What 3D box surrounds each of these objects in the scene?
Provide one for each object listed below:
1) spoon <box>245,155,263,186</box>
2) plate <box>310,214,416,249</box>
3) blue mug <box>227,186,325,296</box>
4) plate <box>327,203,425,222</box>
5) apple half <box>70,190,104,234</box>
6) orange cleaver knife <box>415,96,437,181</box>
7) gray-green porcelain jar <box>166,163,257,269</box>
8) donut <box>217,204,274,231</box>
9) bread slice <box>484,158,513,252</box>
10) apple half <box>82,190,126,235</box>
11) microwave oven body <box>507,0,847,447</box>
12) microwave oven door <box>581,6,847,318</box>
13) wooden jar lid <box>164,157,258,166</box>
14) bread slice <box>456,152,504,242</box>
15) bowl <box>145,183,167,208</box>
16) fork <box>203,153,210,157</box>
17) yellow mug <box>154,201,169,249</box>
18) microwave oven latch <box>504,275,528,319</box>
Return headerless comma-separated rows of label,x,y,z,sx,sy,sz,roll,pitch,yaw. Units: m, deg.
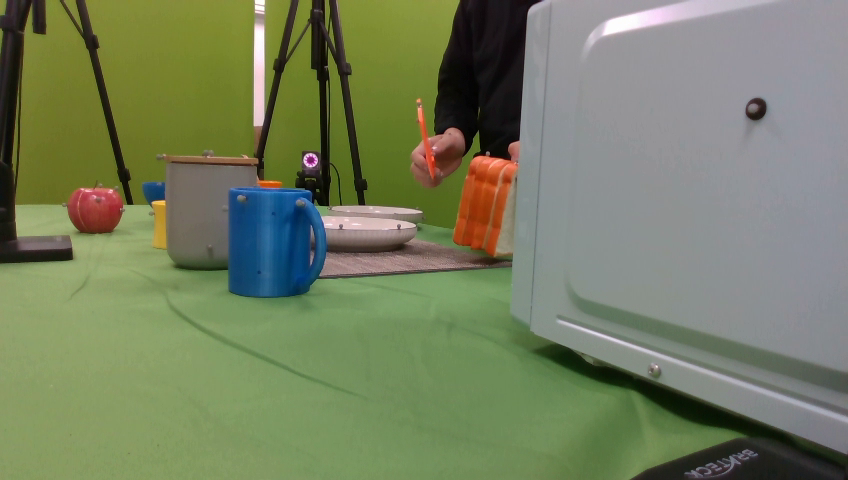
spoon,-0.421,-0.150,1.540,0.042,0.021,0.193,-5,55,-37
plate,-0.116,-0.014,0.967,0.208,0.039,0.207,2,7,0
blue mug,-0.146,0.000,0.618,0.116,0.106,0.083,7,9,32
plate,-0.102,-0.053,1.299,0.209,0.038,0.209,2,8,0
apple half,-0.552,-0.047,1.009,0.053,0.074,0.081,-1,9,26
orange cleaver knife,0.006,-0.140,0.948,0.012,0.077,0.212,-12,-28,2
gray-green porcelain jar,-0.263,-0.031,0.754,0.106,0.126,0.106,2,7,0
donut,-0.318,-0.038,1.081,0.099,0.048,0.099,3,7,0
bread slice,0.123,-0.049,0.855,0.018,0.134,0.107,16,12,27
apple half,-0.516,-0.046,0.994,0.032,0.081,0.081,0,6,26
microwave oven body,0.331,-0.042,0.425,0.444,0.260,0.324,-2,8,-31
microwave oven door,0.295,-0.067,0.569,0.358,0.243,0.039,-3,8,-31
wooden jar lid,-0.261,-0.093,0.746,0.108,0.020,0.108,1,9,0
bread slice,0.084,-0.062,0.881,0.019,0.131,0.105,11,5,30
bowl,-0.459,-0.068,1.175,0.151,0.077,0.151,2,7,0
fork,-0.480,-0.135,1.411,0.028,0.018,0.207,1,-34,-1
yellow mug,-0.338,-0.022,0.899,0.130,0.064,0.100,8,9,35
microwave oven latch,0.100,0.042,0.471,0.079,0.029,0.030,-1,7,-28
